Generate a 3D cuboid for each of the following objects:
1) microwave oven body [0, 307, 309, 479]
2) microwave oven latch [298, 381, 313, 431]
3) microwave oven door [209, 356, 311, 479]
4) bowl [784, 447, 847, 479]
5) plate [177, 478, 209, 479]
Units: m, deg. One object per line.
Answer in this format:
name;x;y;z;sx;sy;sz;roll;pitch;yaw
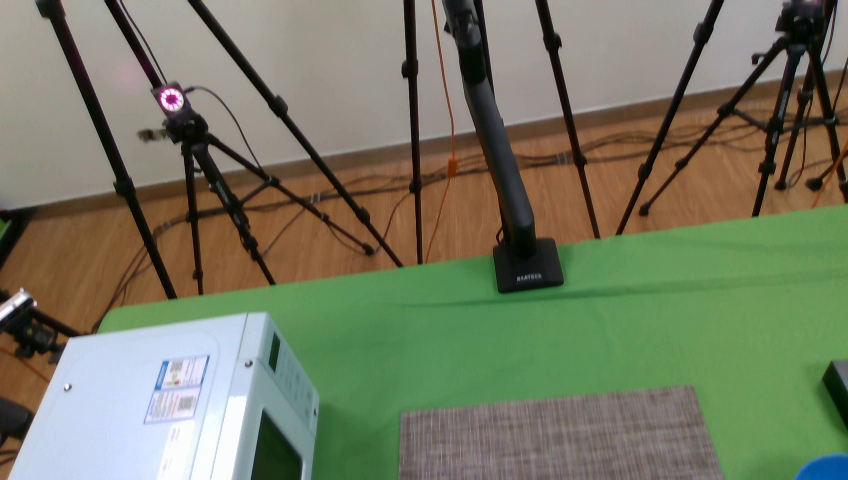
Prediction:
microwave oven body;-0.351;0.352;0.793;0.326;0.263;0.437;-9;47;6
microwave oven latch;-0.194;0.266;0.969;0.030;0.030;0.078;-9;47;6
microwave oven door;-0.207;0.356;0.746;0.039;0.246;0.352;-9;46;6
bowl;0.505;0.336;0.724;0.151;0.077;0.150;-7;46;8
plate;-0.327;0.421;0.793;0.207;0.039;0.205;-5;47;6
